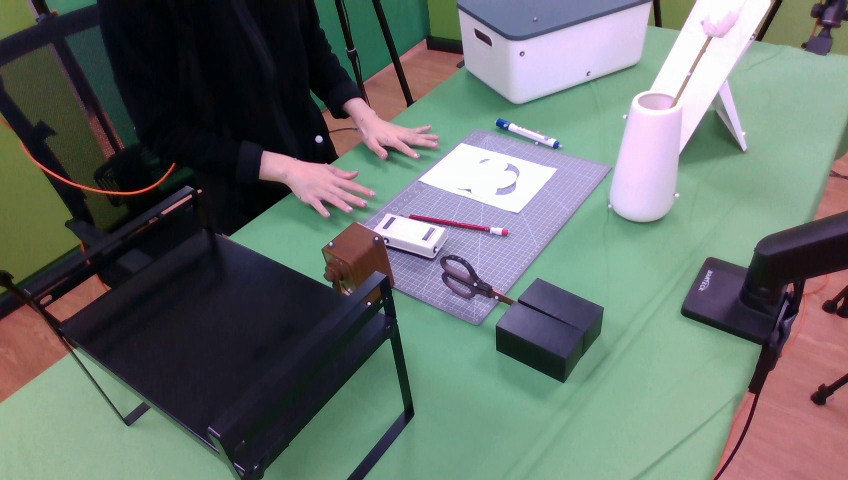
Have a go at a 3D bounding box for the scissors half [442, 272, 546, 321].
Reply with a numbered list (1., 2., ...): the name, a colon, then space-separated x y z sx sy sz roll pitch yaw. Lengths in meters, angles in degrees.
1. scissors half: 0.094 0.080 0.838 0.173 0.040 0.013 19 47 39

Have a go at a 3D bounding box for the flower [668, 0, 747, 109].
1. flower: 0.354 -0.187 0.879 0.038 0.362 0.044 30 48 14

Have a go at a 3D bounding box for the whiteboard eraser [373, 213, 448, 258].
1. whiteboard eraser: -0.022 -0.005 0.965 0.112 0.042 0.055 15 44 24

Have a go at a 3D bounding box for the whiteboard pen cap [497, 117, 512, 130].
1. whiteboard pen cap: 0.165 -0.235 1.226 0.033 0.018 0.018 31 53 31

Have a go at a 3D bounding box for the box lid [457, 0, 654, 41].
1. box lid: 0.285 -0.522 1.323 0.373 0.015 0.261 -22 43 -16

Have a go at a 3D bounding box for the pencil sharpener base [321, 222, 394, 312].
1. pencil sharpener base: -0.096 0.041 0.873 0.061 0.107 0.077 26 54 32

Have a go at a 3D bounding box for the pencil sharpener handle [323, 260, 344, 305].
1. pencil sharpener handle: -0.131 0.062 0.839 0.035 0.068 0.031 29 55 28

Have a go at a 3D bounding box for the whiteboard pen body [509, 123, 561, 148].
1. whiteboard pen body: 0.208 -0.211 1.196 0.139 0.017 0.017 30 52 33

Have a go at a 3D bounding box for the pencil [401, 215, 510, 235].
1. pencil: 0.049 -0.027 1.007 0.193 0.012 0.012 10 43 21

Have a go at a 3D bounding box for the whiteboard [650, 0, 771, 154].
1. whiteboard: 0.543 -0.298 1.076 0.144 0.305 0.216 12 40 -7

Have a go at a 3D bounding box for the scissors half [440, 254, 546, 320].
1. scissors half: 0.092 0.065 0.825 0.174 0.040 0.013 32 59 25

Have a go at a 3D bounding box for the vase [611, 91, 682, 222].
1. vase: 0.348 -0.125 0.935 0.098 0.201 0.097 -3 40 3

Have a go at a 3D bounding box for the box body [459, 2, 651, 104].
1. box body: 0.291 -0.465 1.371 0.365 0.161 0.252 -22 42 -16
